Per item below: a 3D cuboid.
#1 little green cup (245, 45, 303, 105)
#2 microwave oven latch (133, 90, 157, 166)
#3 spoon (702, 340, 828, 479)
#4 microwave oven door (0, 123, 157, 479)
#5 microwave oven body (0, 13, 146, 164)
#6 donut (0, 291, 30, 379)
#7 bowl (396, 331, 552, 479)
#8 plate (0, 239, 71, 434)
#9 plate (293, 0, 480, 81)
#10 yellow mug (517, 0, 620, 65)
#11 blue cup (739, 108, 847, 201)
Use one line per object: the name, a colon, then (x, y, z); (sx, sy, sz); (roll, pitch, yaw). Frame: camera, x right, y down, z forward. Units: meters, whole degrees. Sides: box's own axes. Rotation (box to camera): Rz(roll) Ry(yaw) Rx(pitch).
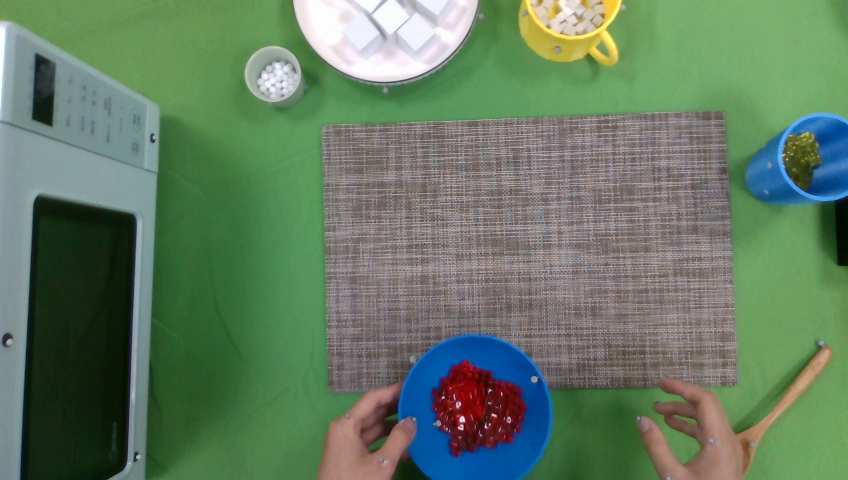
little green cup: (-0.165, -0.182, 0.677); (0.061, 0.038, 0.061); (0, 88, 2)
microwave oven latch: (-0.312, -0.122, 0.664); (0.030, 0.029, 0.079); (3, 89, 2)
spoon: (0.370, 0.181, 0.650); (0.041, 0.022, 0.193); (44, 90, 16)
microwave oven door: (-0.326, 0.093, 0.556); (0.039, 0.244, 0.355); (1, 88, 3)
microwave oven body: (-0.470, 0.046, 0.569); (0.326, 0.260, 0.441); (2, 89, 2)
donut: (-0.446, 0.095, 0.605); (0.099, 0.048, 0.099); (0, 92, 1)
bowl: (0.048, 0.166, 0.621); (0.151, 0.077, 0.151); (0, 85, 0)
plate: (-0.458, 0.097, 0.618); (0.209, 0.038, 0.209); (0, 90, 1)
plate: (-0.040, -0.277, 0.677); (0.207, 0.039, 0.207); (0, 88, 3)
yellow mug: (0.163, -0.243, 0.653); (0.100, 0.064, 0.130); (-39, 88, 0)
blue cup: (0.376, -0.079, 0.619); (0.092, 0.100, 0.092); (0, 86, 1)
